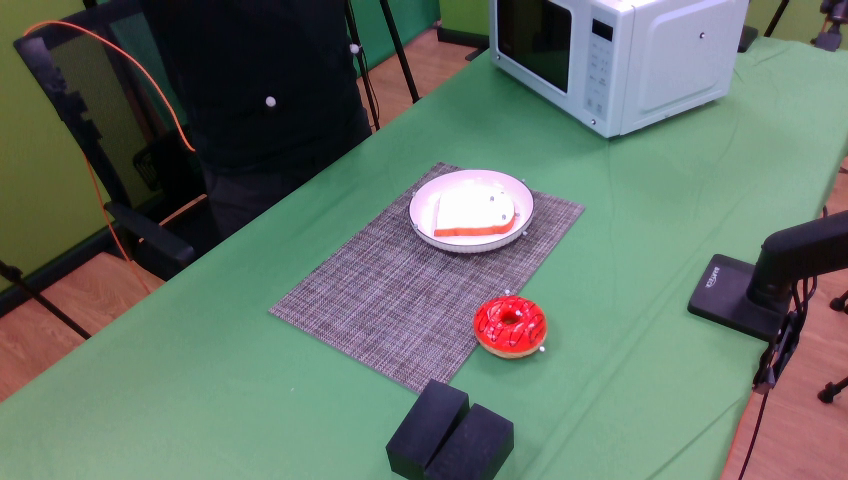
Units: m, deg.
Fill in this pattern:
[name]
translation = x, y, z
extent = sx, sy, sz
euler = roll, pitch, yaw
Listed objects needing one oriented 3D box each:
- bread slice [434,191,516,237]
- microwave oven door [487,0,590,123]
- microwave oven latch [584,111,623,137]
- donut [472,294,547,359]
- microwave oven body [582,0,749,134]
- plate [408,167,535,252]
[bread slice]
translation = 0.086, -0.046, 0.996
extent = 0.131, 0.019, 0.104
euler = -1, 41, 7
[microwave oven door]
translation = 0.232, -0.420, 1.231
extent = 0.039, 0.245, 0.352
euler = -22, 42, -16
[microwave oven latch]
translation = 0.337, -0.222, 1.142
extent = 0.030, 0.029, 0.078
euler = -21, 42, -14
[donut]
translation = 0.114, 0.114, 0.803
extent = 0.099, 0.048, 0.098
euler = 0, 40, 1
[microwave oven body]
translation = 0.382, -0.444, 1.246
extent = 0.327, 0.261, 0.437
euler = -22, 42, -16
[plate]
translation = 0.078, -0.047, 0.996
extent = 0.207, 0.039, 0.206
euler = -4, 41, 4
